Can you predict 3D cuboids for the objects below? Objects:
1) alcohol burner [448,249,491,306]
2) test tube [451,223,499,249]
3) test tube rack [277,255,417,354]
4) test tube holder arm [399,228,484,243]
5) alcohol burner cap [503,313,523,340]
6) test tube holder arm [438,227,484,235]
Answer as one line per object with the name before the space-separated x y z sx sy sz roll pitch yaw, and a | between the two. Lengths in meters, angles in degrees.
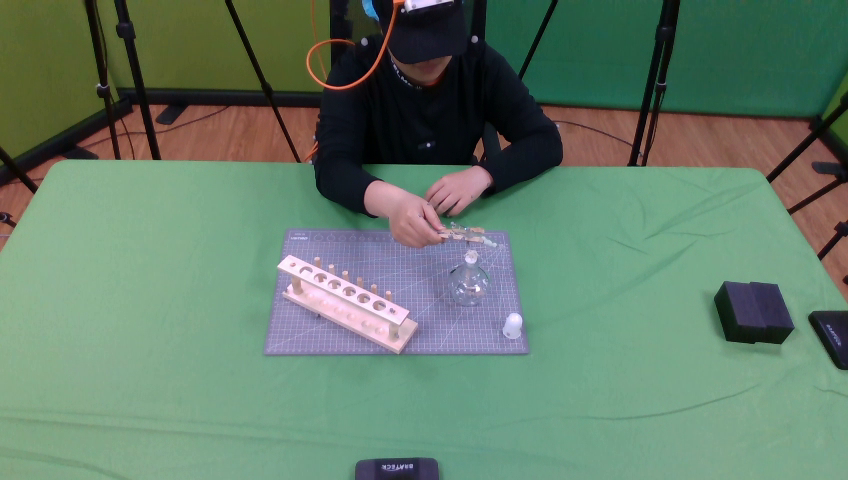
alcohol burner | 0.081 0.062 1.078 0.078 0.120 0.077 1 45 -1
test tube | 0.087 -0.005 1.004 0.017 0.151 0.017 -8 74 30
test tube rack | -0.131 0.099 1.045 0.241 0.085 0.066 23 49 17
test tube holder arm | 0.025 -0.009 1.032 0.178 0.015 0.013 5 78 41
alcohol burner cap | 0.156 0.148 1.051 0.034 0.048 0.033 1 45 -1
test tube holder arm | 0.061 -0.013 1.004 0.087 0.015 0.010 -4 73 39
